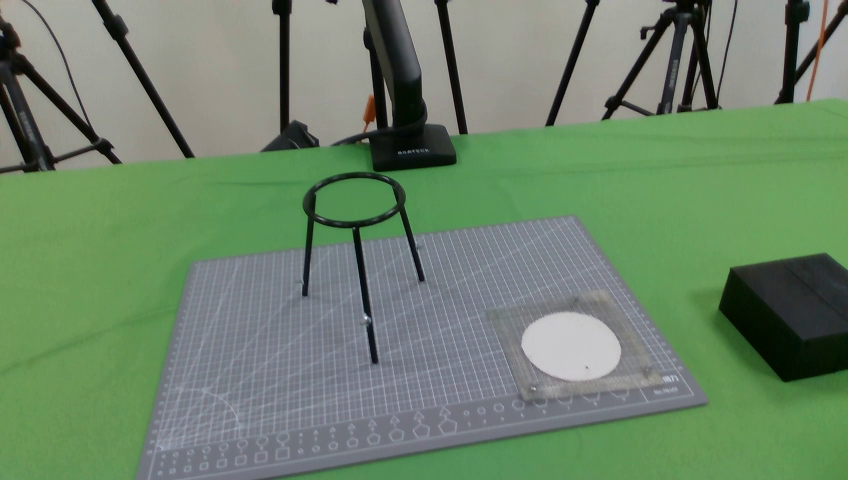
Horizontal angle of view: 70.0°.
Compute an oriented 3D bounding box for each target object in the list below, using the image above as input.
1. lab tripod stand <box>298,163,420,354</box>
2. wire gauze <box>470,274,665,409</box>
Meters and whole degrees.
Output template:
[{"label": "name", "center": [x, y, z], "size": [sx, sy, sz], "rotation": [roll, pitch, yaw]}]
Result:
[{"label": "lab tripod stand", "center": [-0.060, 0.010, 0.558], "size": [0.148, 0.132, 0.147], "rotation": [0, 36, 0]}, {"label": "wire gauze", "center": [0.123, 0.080, 0.532], "size": [0.122, 0.011, 0.123], "rotation": [-17, 44, -23]}]
